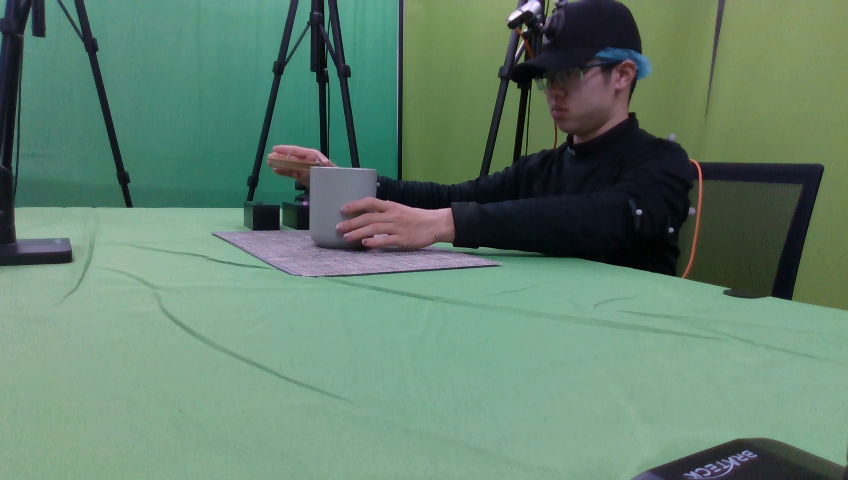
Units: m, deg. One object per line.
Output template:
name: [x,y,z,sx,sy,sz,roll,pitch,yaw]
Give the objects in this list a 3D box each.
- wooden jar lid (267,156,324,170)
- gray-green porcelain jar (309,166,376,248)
wooden jar lid: [-0.250,-0.149,1.176,0.108,0.020,0.108,8,6,0]
gray-green porcelain jar: [-0.130,-0.054,0.966,0.106,0.126,0.106,2,7,0]
